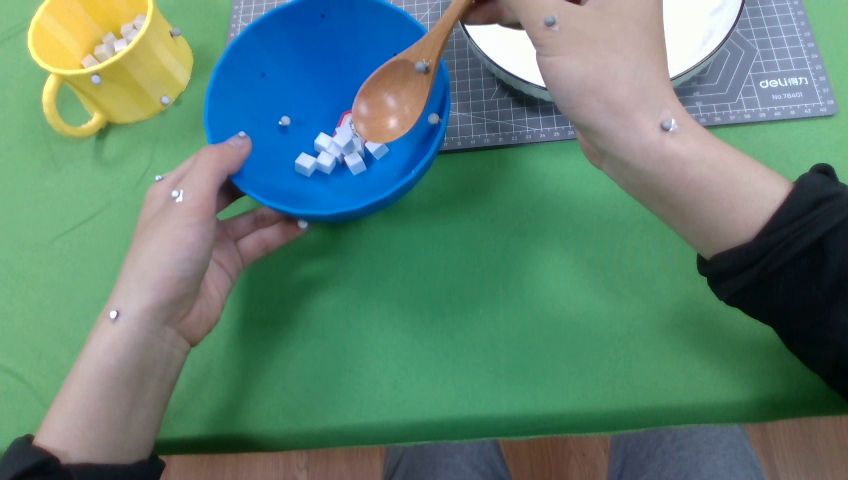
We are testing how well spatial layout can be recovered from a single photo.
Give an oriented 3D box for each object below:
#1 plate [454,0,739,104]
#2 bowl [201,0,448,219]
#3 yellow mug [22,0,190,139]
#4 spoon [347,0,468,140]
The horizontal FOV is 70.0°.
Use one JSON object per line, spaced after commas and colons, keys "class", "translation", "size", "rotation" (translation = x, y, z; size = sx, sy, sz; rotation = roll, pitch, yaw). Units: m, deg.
{"class": "plate", "translation": [0.123, -0.185, 0.454], "size": [0.209, 0.038, 0.207], "rotation": [-3, 68, 6]}
{"class": "bowl", "translation": [-0.057, -0.076, 0.398], "size": [0.151, 0.077, 0.150], "rotation": [-1, 74, 5]}
{"class": "yellow mug", "translation": [-0.254, -0.138, 0.475], "size": [0.099, 0.064, 0.130], "rotation": [18, 72, 14]}
{"class": "spoon", "translation": [0.020, -0.126, 0.319], "size": [0.041, 0.021, 0.194], "rotation": [50, 123, 8]}
